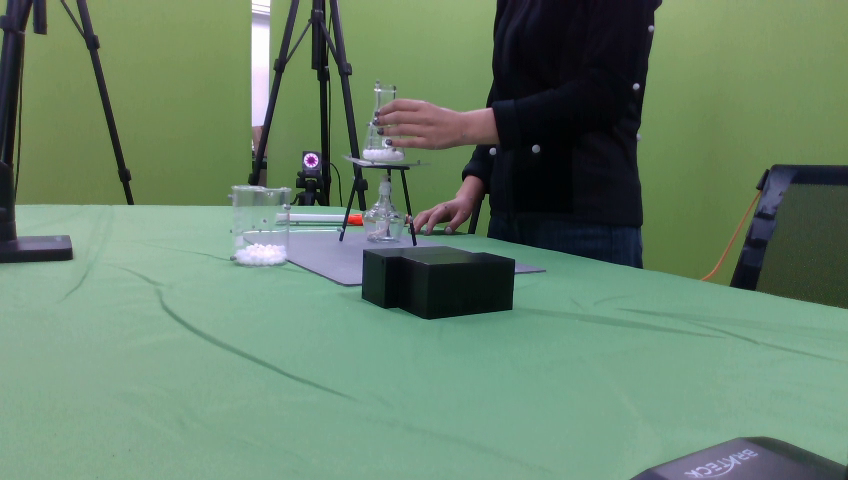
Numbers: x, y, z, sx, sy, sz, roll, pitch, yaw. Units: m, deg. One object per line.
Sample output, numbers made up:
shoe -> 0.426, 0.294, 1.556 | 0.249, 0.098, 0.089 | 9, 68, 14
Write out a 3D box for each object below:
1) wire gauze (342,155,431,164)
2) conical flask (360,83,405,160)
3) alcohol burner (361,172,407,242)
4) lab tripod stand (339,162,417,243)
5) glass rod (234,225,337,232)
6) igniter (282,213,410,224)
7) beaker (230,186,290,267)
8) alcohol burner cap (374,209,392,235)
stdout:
wire gauze -> -0.065, -0.131, 1.017 | 0.122, 0.011, 0.124 | 1, 9, -26
conical flask -> -0.066, -0.196, 1.000 | 0.075, 0.122, 0.075 | 3, 12, 0
alcohol burner -> -0.067, -0.056, 1.030 | 0.078, 0.119, 0.078 | 3, 9, 0
lab tripod stand -> -0.067, -0.065, 1.027 | 0.148, 0.131, 0.148 | 4, 7, 0
glass rod -> -0.256, -0.022, 1.136 | 0.201, 0.008, 0.008 | -3, 9, -33
igniter -> -0.159, -0.046, 1.287 | 0.278, 0.025, 0.057 | -1, -3, -21
beaker -> -0.209, -0.019, 0.778 | 0.074, 0.100, 0.084 | 3, 6, 4
alcohol burner cap -> -0.078, -0.036, 1.148 | 0.034, 0.048, 0.034 | 3, 8, 0
